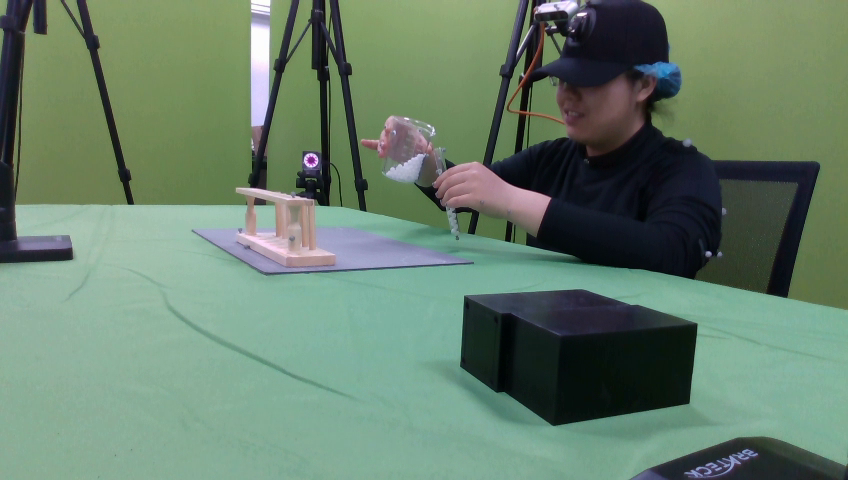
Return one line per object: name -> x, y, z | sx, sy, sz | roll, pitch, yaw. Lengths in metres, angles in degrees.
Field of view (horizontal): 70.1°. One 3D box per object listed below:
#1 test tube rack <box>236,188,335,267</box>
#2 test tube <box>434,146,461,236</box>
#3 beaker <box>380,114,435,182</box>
test tube rack -> -0.202, -0.024, 0.855 | 0.067, 0.085, 0.241 | -2, 8, -31
test tube -> 0.039, -0.080, 0.992 | 0.017, 0.150, 0.017 | -12, 3, 1
beaker -> -0.028, -0.153, 1.026 | 0.083, 0.100, 0.074 | 25, 20, 26
